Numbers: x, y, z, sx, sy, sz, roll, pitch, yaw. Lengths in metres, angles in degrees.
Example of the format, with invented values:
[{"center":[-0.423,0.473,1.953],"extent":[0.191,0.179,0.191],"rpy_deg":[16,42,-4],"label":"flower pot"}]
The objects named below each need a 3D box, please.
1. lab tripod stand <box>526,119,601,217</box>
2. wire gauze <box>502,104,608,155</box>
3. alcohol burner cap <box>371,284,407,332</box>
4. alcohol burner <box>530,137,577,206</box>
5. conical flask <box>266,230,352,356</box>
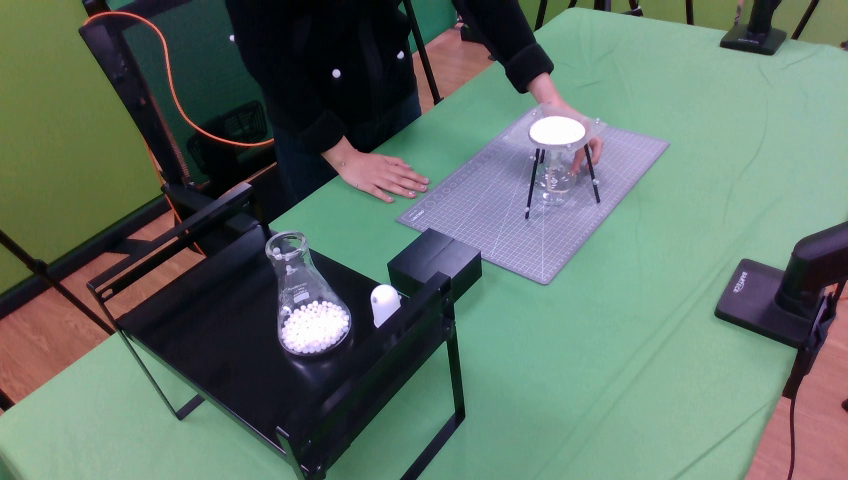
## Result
[{"center":[0.221,-0.121,0.995],"extent":[0.148,0.132,0.147],"rpy_deg":[-3,39,3],"label":"lab tripod stand"},{"center":[0.207,-0.173,0.953],"extent":[0.120,0.011,0.125],"rpy_deg":[24,48,31],"label":"wire gauze"},{"center":[-0.037,0.066,0.608],"extent":[0.034,0.048,0.033],"rpy_deg":[-5,40,5],"label":"alcohol burner cap"},{"center":[0.216,-0.117,1.006],"extent":[0.078,0.119,0.077],"rpy_deg":[-4,38,4],"label":"alcohol burner"},{"center":[-0.117,0.047,0.580],"extent":[0.075,0.122,0.075],"rpy_deg":[-5,40,4],"label":"conical flask"}]
